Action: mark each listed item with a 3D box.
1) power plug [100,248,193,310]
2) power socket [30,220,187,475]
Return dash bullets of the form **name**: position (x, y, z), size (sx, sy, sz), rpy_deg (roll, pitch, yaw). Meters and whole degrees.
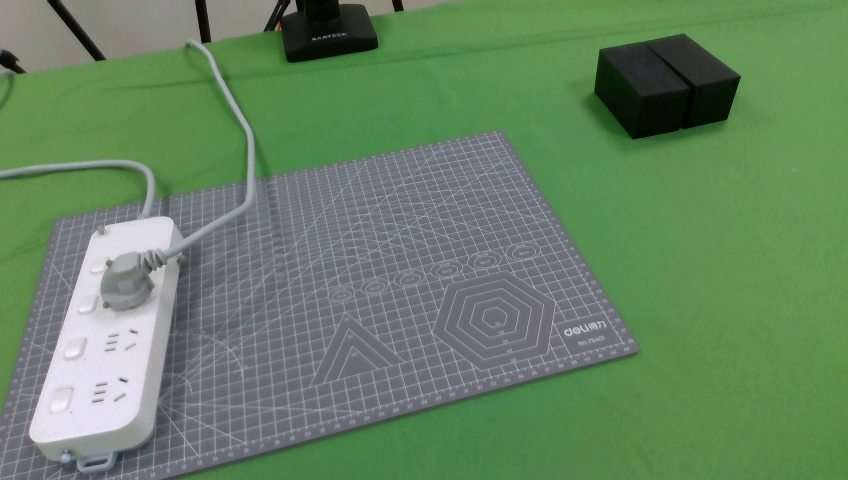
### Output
- **power plug**: position (-0.206, 0.036, 0.454), size (0.072, 0.053, 0.035), rpy_deg (-3, 45, 3)
- **power socket**: position (-0.230, 0.064, 0.461), size (0.072, 0.033, 0.224), rpy_deg (-8, 44, -5)
